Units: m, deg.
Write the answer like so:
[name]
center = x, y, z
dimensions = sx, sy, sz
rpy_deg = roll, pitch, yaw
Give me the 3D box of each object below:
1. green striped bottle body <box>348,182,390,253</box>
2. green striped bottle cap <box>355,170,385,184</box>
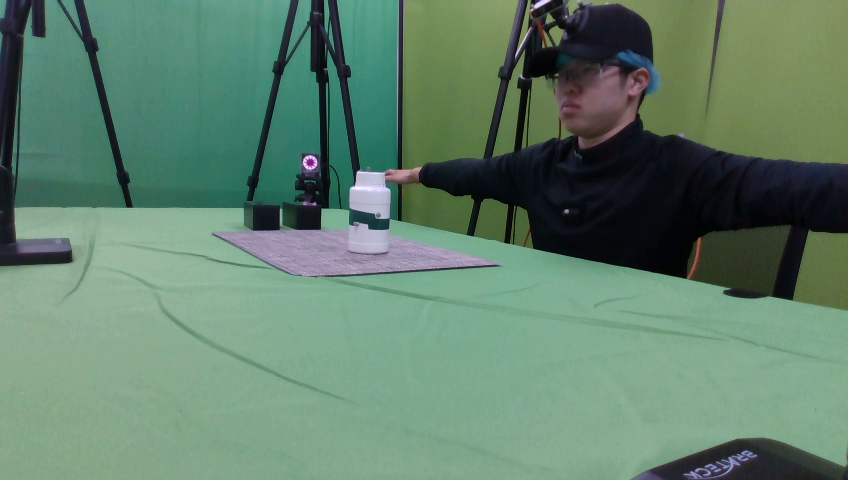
[green striped bottle body]
center = -0.083, -0.043, 0.914
dimensions = 0.063, 0.119, 0.063
rpy_deg = 2, 7, 0
[green striped bottle cap]
center = -0.080, -0.094, 0.907
dimensions = 0.044, 0.020, 0.044
rpy_deg = 3, 9, 0
